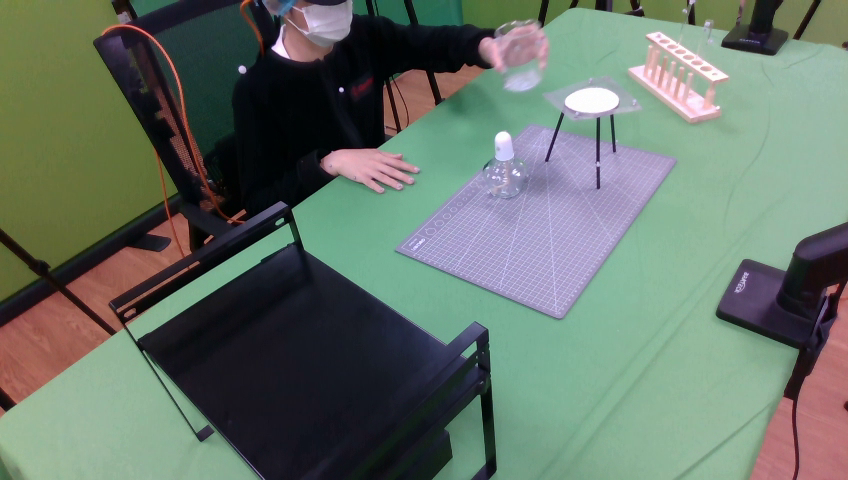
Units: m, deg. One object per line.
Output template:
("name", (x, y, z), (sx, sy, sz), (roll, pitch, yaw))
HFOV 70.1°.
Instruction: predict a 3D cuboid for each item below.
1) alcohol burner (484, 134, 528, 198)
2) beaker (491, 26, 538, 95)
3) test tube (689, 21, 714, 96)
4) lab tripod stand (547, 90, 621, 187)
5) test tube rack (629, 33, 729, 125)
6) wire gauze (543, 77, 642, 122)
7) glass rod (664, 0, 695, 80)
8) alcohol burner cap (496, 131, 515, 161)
("alcohol burner", (0.141, -0.133, 1.041), (0.078, 0.119, 0.077), (-4, 43, 5))
("beaker", (0.162, -0.316, 1.064), (0.073, 0.101, 0.084), (0, 40, 18))
("test tube", (0.542, -0.353, 1.184), (0.017, 0.151, 0.017), (-2, 40, 2))
("lab tripod stand", (0.289, -0.184, 1.062), (0.148, 0.132, 0.147), (-6, 41, 6))
("test tube rack", (0.516, -0.337, 1.247), (0.067, 0.085, 0.240), (-14, 41, -7))
("wire gauze", (0.282, -0.236, 1.020), (0.125, 0.011, 0.120), (-15, 40, -6))
("glass rod", (0.523, -0.415, 1.235), (0.008, 0.200, 0.008), (1, 46, 0))
("alcohol burner cap", (0.135, -0.160, 1.019), (0.034, 0.048, 0.033), (-8, 37, 7))
